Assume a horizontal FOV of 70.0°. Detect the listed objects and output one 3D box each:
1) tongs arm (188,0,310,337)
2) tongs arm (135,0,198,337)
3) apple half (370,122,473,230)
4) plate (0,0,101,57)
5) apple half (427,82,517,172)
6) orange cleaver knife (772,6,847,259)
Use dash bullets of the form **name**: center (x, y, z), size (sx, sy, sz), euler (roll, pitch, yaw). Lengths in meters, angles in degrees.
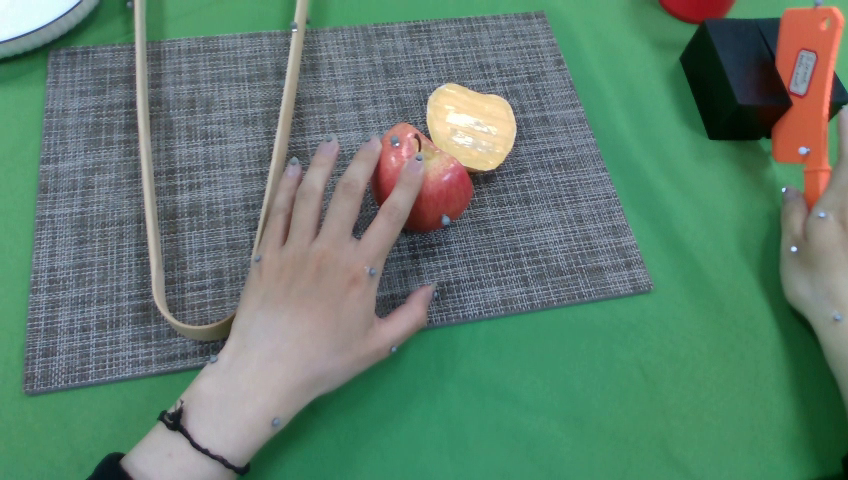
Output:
- **tongs arm**: center (-0.130, -0.108, 0.494), size (0.051, 0.027, 0.381), euler (3, 63, -6)
- **tongs arm**: center (-0.215, -0.104, 0.485), size (0.028, 0.028, 0.384), euler (-9, 64, -15)
- **apple half**: center (-0.009, -0.039, 0.449), size (0.080, 0.075, 0.053), euler (40, 70, 10)
- **plate**: center (-0.378, -0.233, 0.531), size (0.209, 0.038, 0.207), euler (3, 62, -5)
- **apple half**: center (0.035, -0.088, 0.502), size (0.081, 0.033, 0.081), euler (4, 74, -14)
- **orange cleaver knife**: center (0.318, -0.091, 0.506), size (0.012, 0.077, 0.211), euler (-3, 95, -8)
